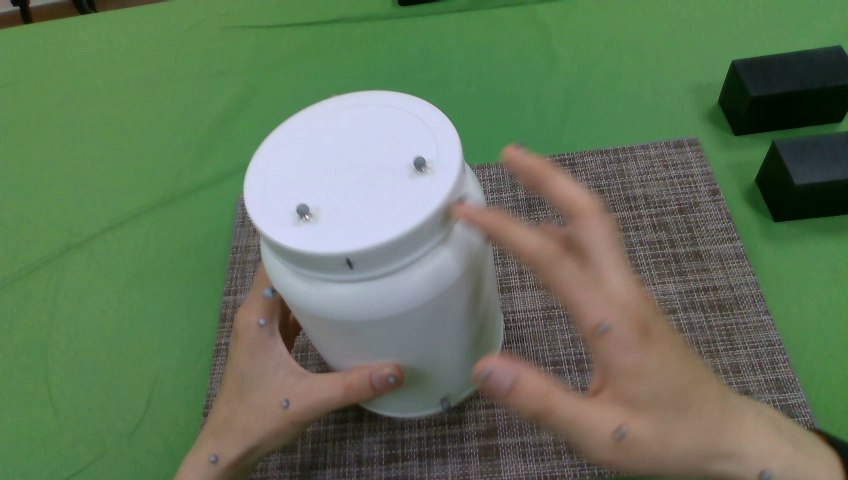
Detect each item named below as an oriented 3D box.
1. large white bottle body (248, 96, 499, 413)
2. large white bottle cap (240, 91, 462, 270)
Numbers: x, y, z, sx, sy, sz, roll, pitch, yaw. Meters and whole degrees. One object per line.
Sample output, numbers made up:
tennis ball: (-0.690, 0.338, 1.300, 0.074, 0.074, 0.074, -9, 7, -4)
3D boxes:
large white bottle body: (-0.024, 0.016, 0.380, 0.130, 0.186, 0.129, -5, 53, 8)
large white bottle cap: (-0.038, -0.035, 0.314, 0.115, 0.018, 0.113, -6, 52, 8)
